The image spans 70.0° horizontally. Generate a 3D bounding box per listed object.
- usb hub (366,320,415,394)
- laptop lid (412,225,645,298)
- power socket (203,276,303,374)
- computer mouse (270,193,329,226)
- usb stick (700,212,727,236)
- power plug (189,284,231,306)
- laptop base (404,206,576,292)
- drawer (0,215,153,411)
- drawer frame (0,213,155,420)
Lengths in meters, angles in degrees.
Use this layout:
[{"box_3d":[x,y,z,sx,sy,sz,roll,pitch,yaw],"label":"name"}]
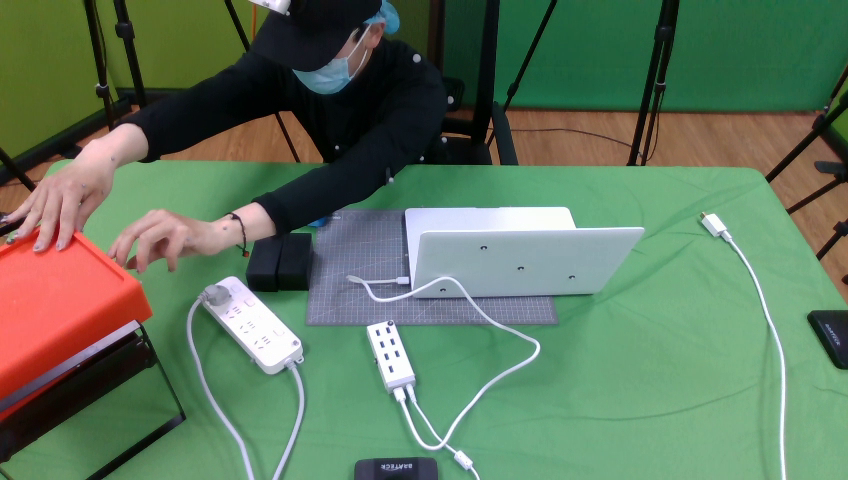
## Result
[{"box_3d":[-0.056,0.192,1.009,0.049,0.025,0.124,-12,49,-16],"label":"usb hub"},{"box_3d":[0.161,0.042,1.012,0.357,0.242,0.013,0,59,-7],"label":"laptop lid"},{"box_3d":[-0.295,0.141,1.034,0.072,0.033,0.225,-34,58,-30],"label":"power socket"},{"box_3d":[-0.254,-0.064,1.228,0.117,0.041,0.062,5,49,10],"label":"computer mouse"},{"box_3d":[0.606,-0.038,1.273,0.027,0.021,0.059,-18,56,-20],"label":"usb stick"},{"box_3d":[-0.368,0.100,1.037,0.072,0.053,0.035,-23,53,-26],"label":"power plug"},{"box_3d":[0.143,0.018,1.196,0.355,0.023,0.234,-1,43,-6],"label":"laptop base"},{"box_3d":[-0.505,0.086,0.789,0.193,0.073,0.211,33,53,24],"label":"drawer"},{"box_3d":[-0.506,0.088,0.786,0.201,0.083,0.213,31,52,23],"label":"drawer frame"}]
